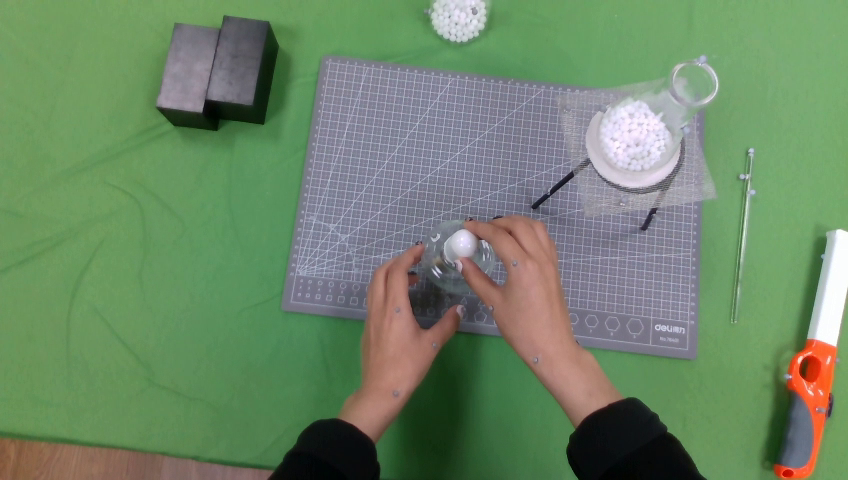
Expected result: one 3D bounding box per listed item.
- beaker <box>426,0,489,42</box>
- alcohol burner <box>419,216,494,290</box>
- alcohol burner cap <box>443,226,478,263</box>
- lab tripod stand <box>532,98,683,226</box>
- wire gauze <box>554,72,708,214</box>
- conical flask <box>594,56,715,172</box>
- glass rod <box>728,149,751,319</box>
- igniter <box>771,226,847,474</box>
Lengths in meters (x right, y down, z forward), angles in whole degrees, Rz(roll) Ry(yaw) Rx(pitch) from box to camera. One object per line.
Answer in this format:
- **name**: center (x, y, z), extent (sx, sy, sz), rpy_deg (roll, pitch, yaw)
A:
- **beaker**: center (0.041, -0.278, 0.677), extent (0.084, 0.100, 0.074), rpy_deg (-34, 82, -8)
- **alcohol burner**: center (0.034, 0.010, 0.611), extent (0.078, 0.119, 0.077), rpy_deg (0, 80, -2)
- **alcohol burner cap**: center (0.036, 0.002, 0.576), extent (0.034, 0.048, 0.033), rpy_deg (1, 79, -5)
- **lab tripod stand**: center (0.191, -0.075, 0.622), extent (0.148, 0.132, 0.148), rpy_deg (0, 80, -1)
- **wire gauze**: center (0.192, -0.089, 0.558), extent (0.125, 0.011, 0.121), rpy_deg (-9, 82, -5)
- **conical flask**: center (0.193, -0.106, 0.501), extent (0.075, 0.122, 0.075), rpy_deg (0, 81, -1)
- **glass rod**: center (0.355, -0.009, 0.681), extent (0.008, 0.008, 0.199), rpy_deg (12, 79, 0)
- **igniter**: center (0.420, 0.116, 0.650), extent (0.057, 0.025, 0.275), rpy_deg (21, 79, -8)
